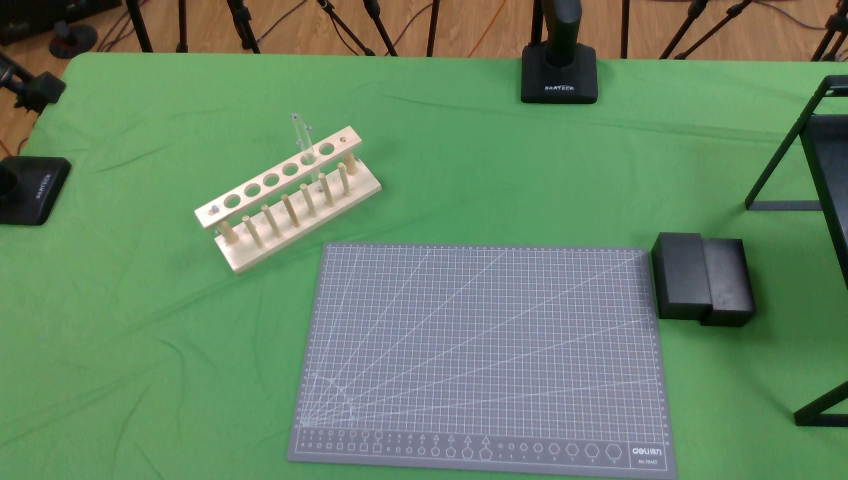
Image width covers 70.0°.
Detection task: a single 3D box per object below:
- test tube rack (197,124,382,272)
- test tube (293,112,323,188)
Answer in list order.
[{"bbox_3d":[-0.183,-0.060,0.857,0.242,0.086,0.066,-32,63,-13],"label":"test tube rack"},{"bbox_3d":[-0.156,-0.119,0.832,0.017,0.151,0.017,-1,59,2],"label":"test tube"}]
